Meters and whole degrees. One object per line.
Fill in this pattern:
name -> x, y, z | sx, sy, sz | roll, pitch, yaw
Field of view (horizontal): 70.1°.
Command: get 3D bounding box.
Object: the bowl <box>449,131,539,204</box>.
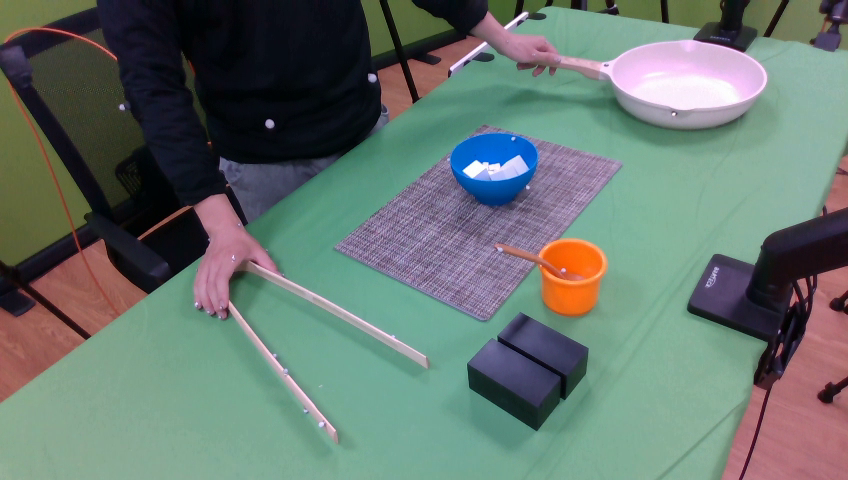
bowl -> 0.121, -0.114, 1.034 | 0.151, 0.077, 0.150 | -4, 41, 4

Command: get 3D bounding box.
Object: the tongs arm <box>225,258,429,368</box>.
tongs arm -> -0.151, 0.097, 0.872 | 0.384, 0.028, 0.028 | 22, 51, 30

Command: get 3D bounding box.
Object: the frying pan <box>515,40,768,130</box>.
frying pan -> 0.423, -0.337, 1.236 | 0.486, 0.103, 0.307 | 16, 44, 13

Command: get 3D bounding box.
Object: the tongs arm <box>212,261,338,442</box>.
tongs arm -> -0.208, 0.136, 0.830 | 0.051, 0.026, 0.381 | -32, 45, -27

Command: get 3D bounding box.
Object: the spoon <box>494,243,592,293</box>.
spoon -> 0.162, 0.034, 0.808 | 0.021, 0.195, 0.041 | -47, 40, 21
